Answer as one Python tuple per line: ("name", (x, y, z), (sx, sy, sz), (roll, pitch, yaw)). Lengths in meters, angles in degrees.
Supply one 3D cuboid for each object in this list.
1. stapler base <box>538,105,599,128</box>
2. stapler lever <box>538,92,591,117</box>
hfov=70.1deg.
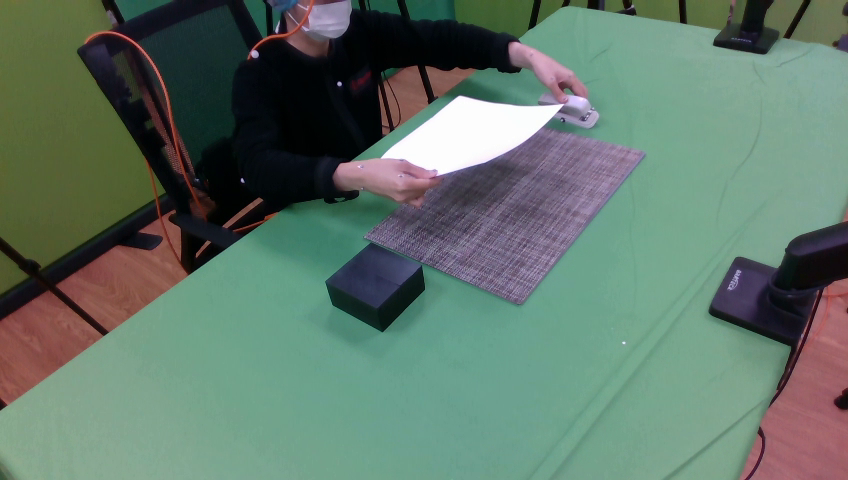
("stapler base", (0.290, -0.264, 1.225), (0.129, 0.024, 0.041), (29, 78, 37))
("stapler lever", (0.279, -0.275, 1.206), (0.117, 0.040, 0.027), (29, 78, 36))
